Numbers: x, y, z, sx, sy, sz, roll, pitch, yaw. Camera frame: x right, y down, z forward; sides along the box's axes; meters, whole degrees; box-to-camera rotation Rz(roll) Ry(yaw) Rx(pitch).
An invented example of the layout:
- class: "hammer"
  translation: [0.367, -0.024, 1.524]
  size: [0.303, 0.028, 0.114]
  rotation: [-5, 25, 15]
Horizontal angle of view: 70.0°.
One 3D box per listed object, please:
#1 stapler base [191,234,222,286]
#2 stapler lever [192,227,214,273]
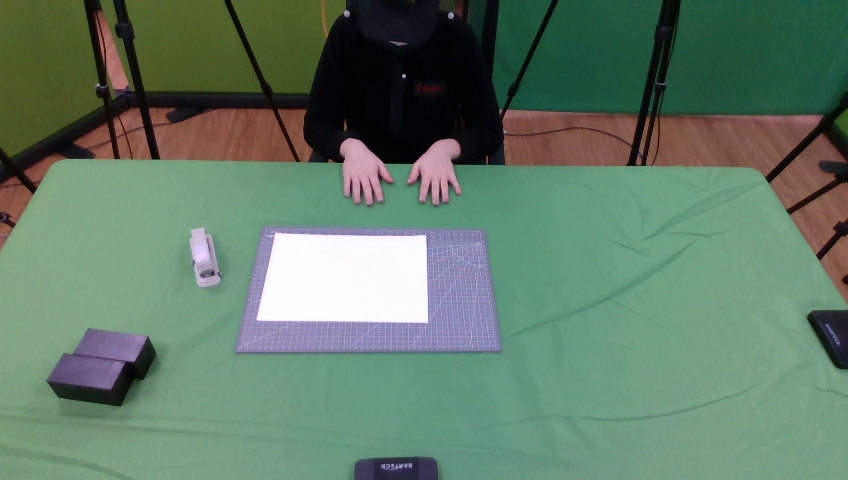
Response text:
- class: "stapler base"
  translation: [-0.410, 0.031, 1.135]
  size: [0.041, 0.024, 0.129]
  rotation: [-13, 47, -19]
- class: "stapler lever"
  translation: [-0.410, 0.013, 1.119]
  size: [0.027, 0.040, 0.117]
  rotation: [-13, 48, -19]
